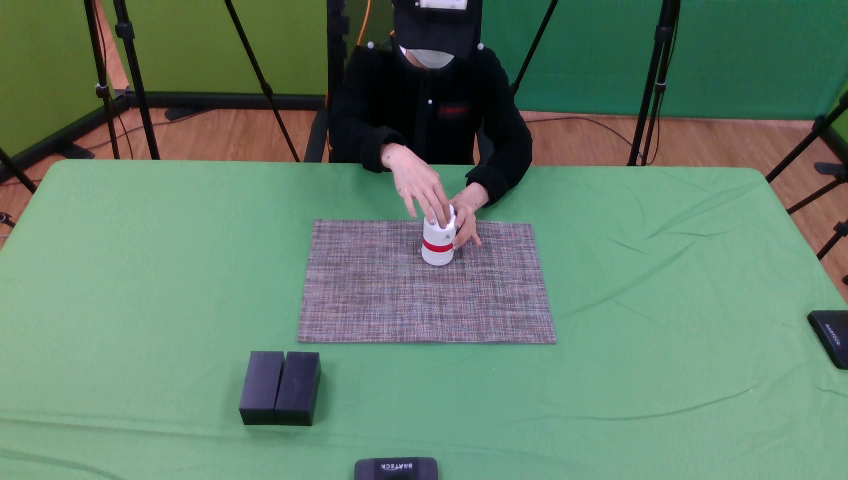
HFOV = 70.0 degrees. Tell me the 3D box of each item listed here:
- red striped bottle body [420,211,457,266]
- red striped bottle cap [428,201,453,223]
[{"bbox_3d":[0.027,-0.012,1.139,0.063,0.120,0.062,2,45,-2],"label":"red striped bottle body"},{"bbox_3d":[0.030,-0.051,1.099,0.044,0.018,0.044,2,44,-2],"label":"red striped bottle cap"}]
